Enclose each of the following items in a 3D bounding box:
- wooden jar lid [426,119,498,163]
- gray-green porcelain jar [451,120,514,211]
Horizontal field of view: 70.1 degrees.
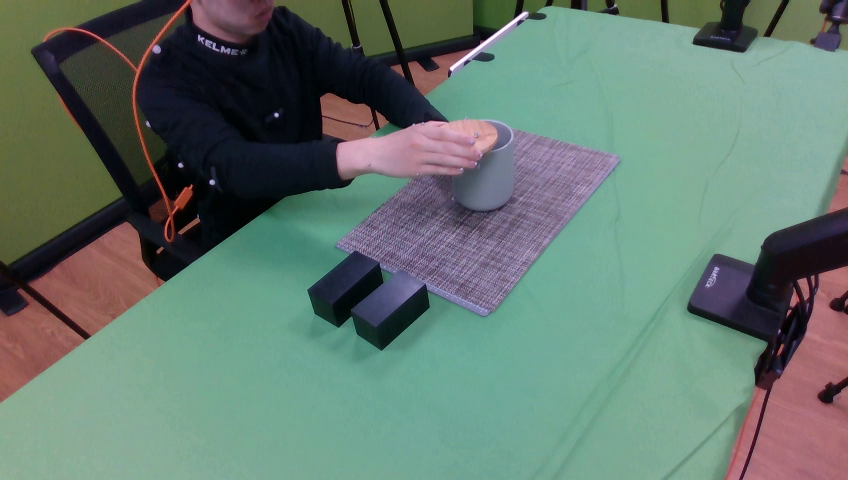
[{"bbox_3d":[0.058,-0.148,0.911,0.108,0.021,0.108,-6,38,5],"label":"wooden jar lid"},{"bbox_3d":[0.098,-0.120,1.009,0.106,0.127,0.105,-4,41,4],"label":"gray-green porcelain jar"}]
